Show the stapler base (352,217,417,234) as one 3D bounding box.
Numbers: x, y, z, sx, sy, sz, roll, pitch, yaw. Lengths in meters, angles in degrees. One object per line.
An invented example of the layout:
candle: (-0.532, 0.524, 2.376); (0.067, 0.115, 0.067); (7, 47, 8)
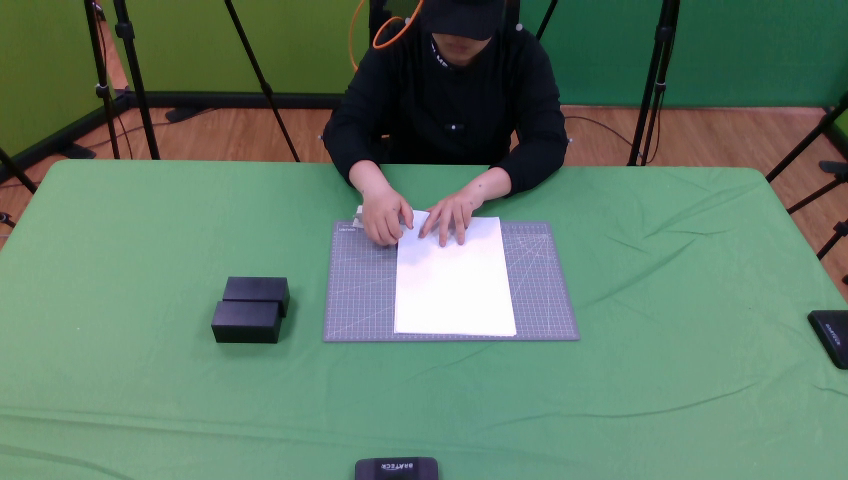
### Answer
stapler base: (-0.079, -0.040, 1.226); (0.130, 0.024, 0.041); (6, 46, 3)

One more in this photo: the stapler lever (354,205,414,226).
stapler lever: (-0.079, -0.053, 1.211); (0.118, 0.040, 0.026); (10, 46, -1)
